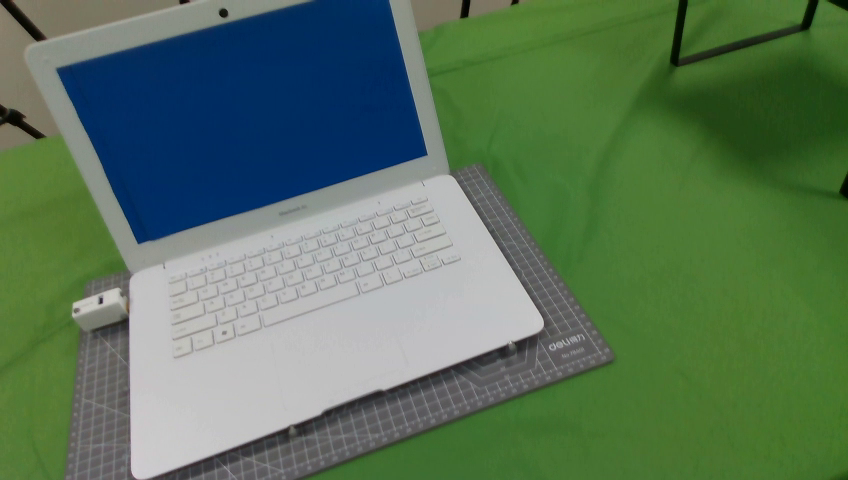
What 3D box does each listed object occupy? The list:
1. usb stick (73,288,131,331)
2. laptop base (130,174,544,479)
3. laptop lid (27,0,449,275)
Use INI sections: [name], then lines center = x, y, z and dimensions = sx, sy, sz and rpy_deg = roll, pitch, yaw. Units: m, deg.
[usb stick]
center = -0.302, 0.065, 0.585
dimensions = 0.059, 0.027, 0.021
rpy_deg = -16, 42, -11
[laptop base]
center = -0.095, 0.060, 0.572
dimensions = 0.355, 0.023, 0.232
rpy_deg = -19, 48, -9
[laptop lid]
center = -0.162, -0.118, 0.607
dimensions = 0.357, 0.243, 0.013
rpy_deg = -20, 24, -9
